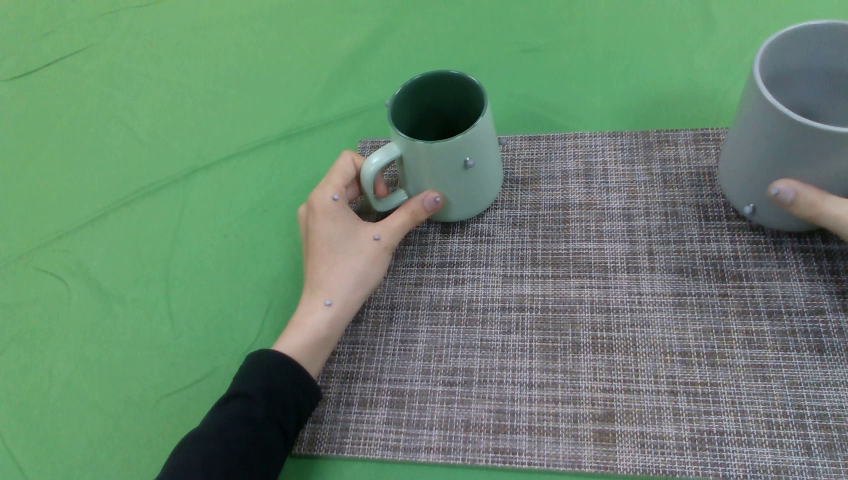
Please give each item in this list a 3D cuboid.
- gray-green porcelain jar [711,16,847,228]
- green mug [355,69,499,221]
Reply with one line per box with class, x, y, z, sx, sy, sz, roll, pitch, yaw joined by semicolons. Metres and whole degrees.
gray-green porcelain jar;0.276;-0.078;0.444;0.106;0.128;0.105;-5;57;8
green mug;0.001;-0.067;0.504;0.125;0.106;0.091;-33;58;-10
